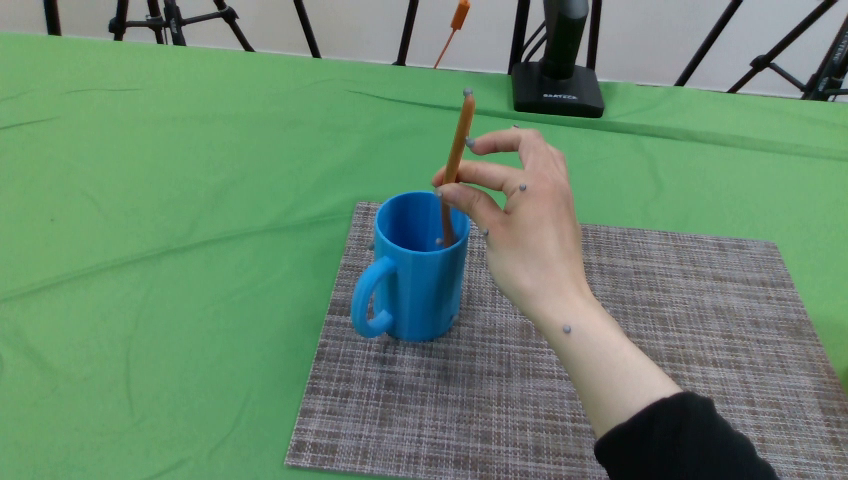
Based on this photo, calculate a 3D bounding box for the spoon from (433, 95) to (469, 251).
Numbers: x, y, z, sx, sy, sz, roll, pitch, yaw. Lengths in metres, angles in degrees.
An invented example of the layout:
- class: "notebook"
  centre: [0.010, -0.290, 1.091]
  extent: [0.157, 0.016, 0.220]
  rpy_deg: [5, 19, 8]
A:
- class: "spoon"
  centre: [0.014, -0.028, 0.457]
  extent: [0.021, 0.195, 0.041]
  rpy_deg: [6, 51, 2]

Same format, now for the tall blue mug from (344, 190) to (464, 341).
- class: "tall blue mug"
  centre: [-0.014, 0.033, 0.501]
  extent: [0.077, 0.109, 0.106]
  rpy_deg: [12, 44, 6]
